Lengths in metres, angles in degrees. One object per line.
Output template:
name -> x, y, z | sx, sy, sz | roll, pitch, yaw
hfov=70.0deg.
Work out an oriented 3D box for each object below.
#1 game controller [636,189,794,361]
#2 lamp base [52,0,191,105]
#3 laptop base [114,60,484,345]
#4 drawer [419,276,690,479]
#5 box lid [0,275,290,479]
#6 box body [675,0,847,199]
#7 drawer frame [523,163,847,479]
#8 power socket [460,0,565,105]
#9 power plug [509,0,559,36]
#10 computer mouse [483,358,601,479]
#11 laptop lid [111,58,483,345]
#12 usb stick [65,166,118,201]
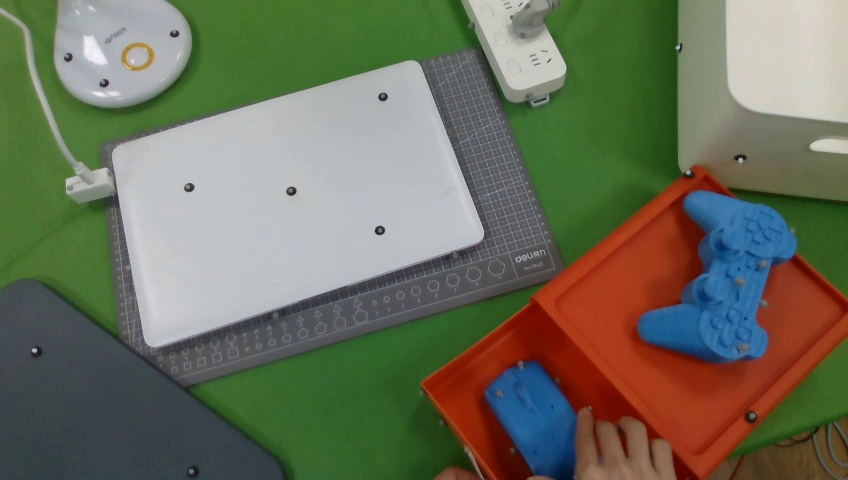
game controller -> 0.254, 0.029, 0.519 | 0.097, 0.052, 0.154 | 25, 73, 7
lamp base -> -0.371, -0.264, 0.651 | 0.178, 0.181, 0.160 | 31, 73, 16
laptop base -> -0.138, -0.050, 0.649 | 0.354, 0.023, 0.234 | -18, 74, -5
drawer -> 0.135, 0.145, 0.537 | 0.212, 0.074, 0.193 | -35, 72, -11
box lid -> -0.337, 0.219, 0.560 | 0.370, 0.015, 0.262 | 31, 74, 12
box body -> 0.405, -0.232, 0.623 | 0.254, 0.161, 0.362 | 7, 70, 4
drawer frame -> 0.235, 0.069, 0.559 | 0.213, 0.083, 0.200 | -38, 72, -12
power socket -> 0.095, -0.259, 0.713 | 0.072, 0.033, 0.225 | -18, 70, -6
power plug -> 0.132, -0.249, 0.683 | 0.072, 0.053, 0.035 | -8, 68, -2
computer mouse -> 0.105, 0.165, 0.546 | 0.063, 0.041, 0.116 | -29, 67, -6
laptop lid -> -0.138, -0.052, 0.637 | 0.357, 0.013, 0.240 | -16, 72, -4
usb stick -> -0.347, -0.062, 0.647 | 0.059, 0.027, 0.021 | -13, 64, -7
